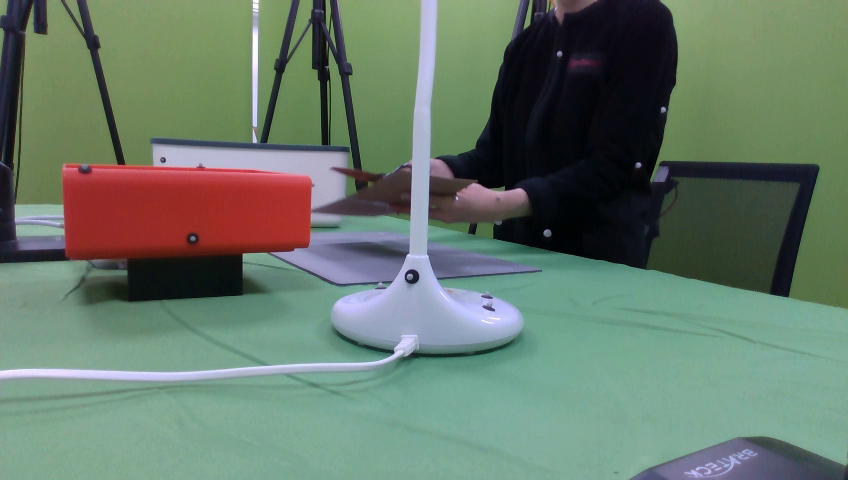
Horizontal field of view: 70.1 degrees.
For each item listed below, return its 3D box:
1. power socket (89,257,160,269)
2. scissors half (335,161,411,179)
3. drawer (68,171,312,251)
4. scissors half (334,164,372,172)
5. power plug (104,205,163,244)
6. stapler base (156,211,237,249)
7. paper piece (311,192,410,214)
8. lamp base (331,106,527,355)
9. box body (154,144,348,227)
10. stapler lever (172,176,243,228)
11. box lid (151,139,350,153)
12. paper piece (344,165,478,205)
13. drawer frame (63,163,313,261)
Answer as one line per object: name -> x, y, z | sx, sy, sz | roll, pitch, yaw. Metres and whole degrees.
power socket -> -0.409, 0.004, 0.793 | 0.072, 0.032, 0.225 | -2, 8, -38
scissors half -> -0.070, -0.117, 1.018 | 0.176, 0.040, 0.013 | 0, 17, -33
drawer -> -0.246, -0.036, 0.629 | 0.213, 0.073, 0.193 | -2, 9, -30
scissors half -> -0.076, -0.098, 1.022 | 0.176, 0.040, 0.012 | 21, 11, -36
power plug -> -0.390, -0.021, 0.815 | 0.073, 0.052, 0.035 | -1, 7, -27
stapler base -> -0.227, -0.017, 0.624 | 0.041, 0.024, 0.130 | 18, 10, -2
paper piece -> -0.099, -0.055, 0.947 | 0.136, 0.004, 0.135 | 4, -8, -34
lamp base -> 0.006, -0.012, 0.478 | 0.161, 0.180, 0.179 | 2, 10, 2
box body -> -0.357, -0.119, 1.264 | 0.365, 0.160, 0.253 | 0, 7, -18
stapler lever -> -0.217, -0.041, 0.618 | 0.027, 0.040, 0.118 | 18, 11, -2
box lid -> -0.352, -0.191, 1.256 | 0.373, 0.015, 0.262 | 0, 8, -18
paper piece -> -0.018, -0.073, 0.848 | 0.139, 0.008, 0.135 | 8, -14, -37
drawer frame -> -0.248, -0.036, 0.626 | 0.215, 0.082, 0.200 | -3, 9, -31
